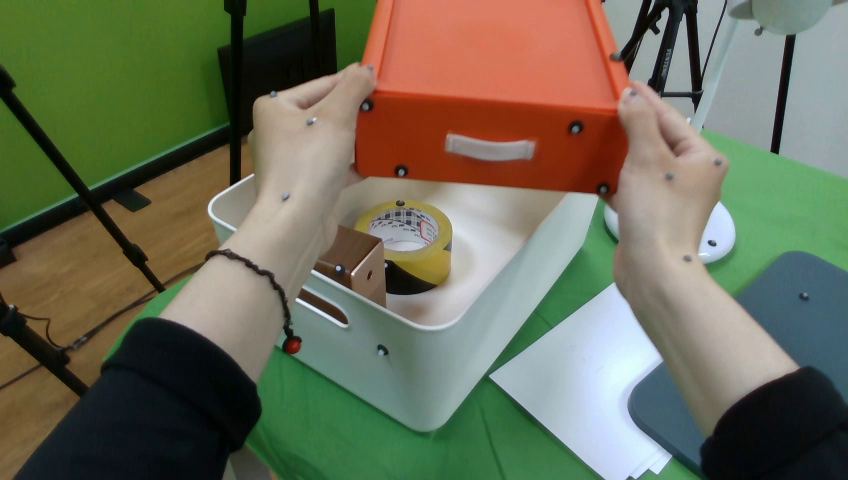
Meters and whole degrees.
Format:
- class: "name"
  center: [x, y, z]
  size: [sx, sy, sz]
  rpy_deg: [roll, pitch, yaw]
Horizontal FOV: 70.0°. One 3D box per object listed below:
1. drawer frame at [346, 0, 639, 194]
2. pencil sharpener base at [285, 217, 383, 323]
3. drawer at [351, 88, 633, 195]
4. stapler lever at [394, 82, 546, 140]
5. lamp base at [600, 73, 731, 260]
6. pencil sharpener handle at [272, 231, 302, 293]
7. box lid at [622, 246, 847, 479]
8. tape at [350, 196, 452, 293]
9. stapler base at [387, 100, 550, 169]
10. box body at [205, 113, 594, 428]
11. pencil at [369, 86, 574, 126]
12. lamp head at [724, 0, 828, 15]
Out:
- class: "drawer frame"
  center: [0.050, -0.139, 0.506]
  size: [0.202, 0.083, 0.211]
  rpy_deg: [3, 44, -1]
- class: "pencil sharpener base"
  center: [-0.088, 0.040, 0.598]
  size: [0.076, 0.108, 0.061]
  rpy_deg: [18, 44, 19]
- class: "drawer"
  center: [0.050, -0.134, 0.504]
  size: [0.194, 0.074, 0.209]
  rpy_deg: [4, 43, 0]
- class: "stapler lever"
  center: [0.036, -0.107, 0.468]
  size: [0.117, 0.040, 0.026]
  rpy_deg: [16, 44, 11]
- class: "lamp base"
  center: [0.311, -0.097, 0.730]
  size: [0.160, 0.182, 0.178]
  rpy_deg: [11, 39, 10]
- class: "pencil sharpener handle"
  center: [-0.137, 0.019, 0.599]
  size: [0.030, 0.068, 0.036]
  rpy_deg: [19, 13, 19]
- class: "box lid"
  center: [0.395, 0.142, 0.586]
  size: [0.372, 0.015, 0.260]
  rpy_deg: [-28, 48, -31]
- class: "tape"
  center: [-0.026, 0.002, 0.688]
  size: [0.117, 0.053, 0.115]
  rpy_deg: [2, 41, -1]
- class: "stapler base"
  center: [0.037, -0.090, 0.485]
  size: [0.130, 0.024, 0.041]
  rpy_deg: [15, 43, 13]
- class: "box body"
  center: [0.004, -0.016, 0.634]
  size: [0.252, 0.162, 0.363]
  rpy_deg: [25, 46, 24]
- class: "pencil"
  center: [0.033, -0.112, 0.508]
  size: [0.192, 0.012, 0.012]
  rpy_deg: [16, 42, 27]
- class: "lamp head"
  center: [0.306, -0.260, 0.503]
  size: [0.112, 0.123, 0.112]
  rpy_deg: [-5, -1, 0]
